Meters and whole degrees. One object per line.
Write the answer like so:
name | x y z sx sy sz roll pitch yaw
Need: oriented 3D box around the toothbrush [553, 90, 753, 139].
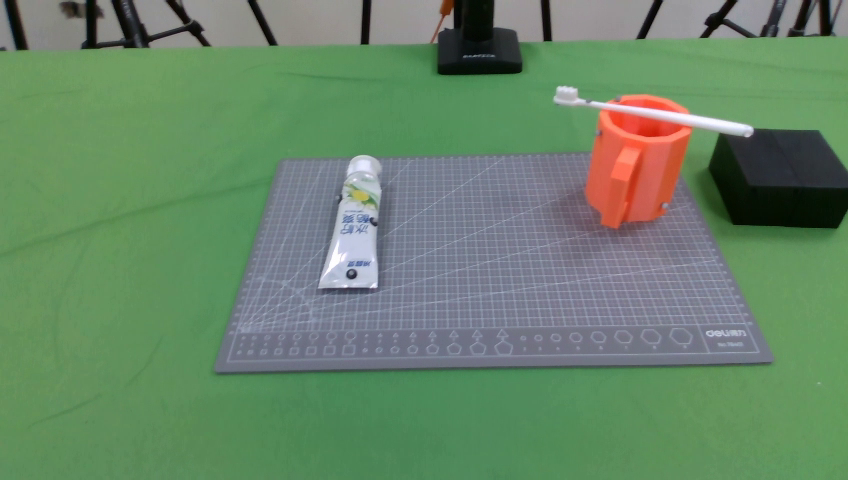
toothbrush | 0.212 -0.118 0.570 0.181 0.017 0.014 15 40 18

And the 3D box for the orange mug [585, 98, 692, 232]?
orange mug | 0.204 -0.069 0.594 0.083 0.102 0.126 19 42 22

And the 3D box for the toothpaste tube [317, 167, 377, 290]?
toothpaste tube | -0.070 -0.016 0.600 0.055 0.035 0.163 -4 47 5

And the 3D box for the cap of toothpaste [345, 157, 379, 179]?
cap of toothpaste | -0.067 -0.073 0.652 0.037 0.038 0.011 2 49 4
